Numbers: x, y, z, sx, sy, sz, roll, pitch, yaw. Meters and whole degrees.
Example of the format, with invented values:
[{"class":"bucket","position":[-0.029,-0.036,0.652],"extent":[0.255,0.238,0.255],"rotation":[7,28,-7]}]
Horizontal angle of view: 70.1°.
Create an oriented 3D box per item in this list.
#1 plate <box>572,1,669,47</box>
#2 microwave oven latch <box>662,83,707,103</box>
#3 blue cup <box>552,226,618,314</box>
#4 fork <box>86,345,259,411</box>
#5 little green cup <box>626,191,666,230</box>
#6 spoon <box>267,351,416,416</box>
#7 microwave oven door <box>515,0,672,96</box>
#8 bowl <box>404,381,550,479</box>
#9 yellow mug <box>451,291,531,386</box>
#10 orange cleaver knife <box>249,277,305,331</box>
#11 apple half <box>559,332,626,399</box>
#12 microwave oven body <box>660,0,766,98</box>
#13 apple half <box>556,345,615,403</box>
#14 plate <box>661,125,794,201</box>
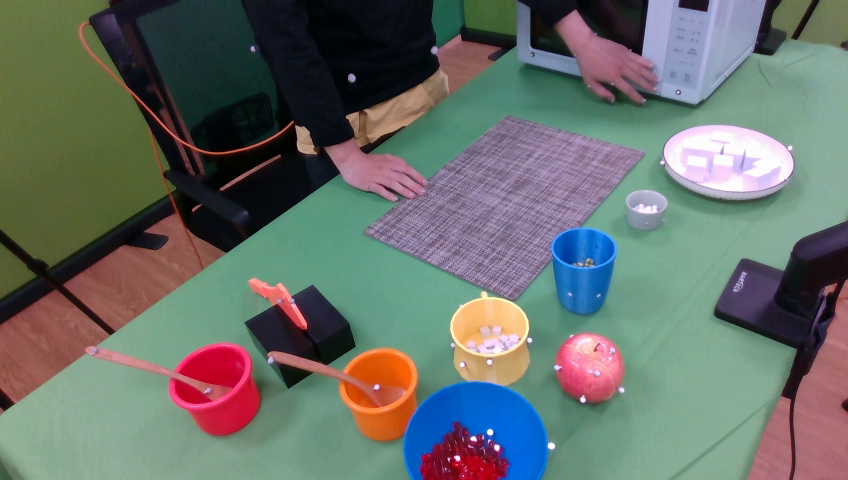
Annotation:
[{"class":"plate","position":[0.441,-0.484,1.366],"extent":[0.209,0.038,0.208],"rotation":[-5,41,5]},{"class":"microwave oven latch","position":[0.517,-0.296,1.204],"extent":[0.078,0.029,0.030],"rotation":[27,52,35]},{"class":"blue cup","position":[0.218,0.047,0.826],"extent":[0.092,0.101,0.092],"rotation":[-6,40,5]},{"class":"fork","position":[-0.298,0.166,0.728],"extent":[0.209,0.018,0.028],"rotation":[28,47,-23]},{"class":"little green cup","position":[0.352,-0.046,0.963],"extent":[0.061,0.039,0.061],"rotation":[-4,40,4]},{"class":"spoon","position":[-0.091,0.162,0.699],"extent":[0.021,0.195,0.041],"rotation":[-45,30,27]},{"class":"microwave oven door","position":[0.344,-0.455,1.259],"extent":[0.353,0.245,0.039],"rotation":[26,51,33]},{"class":"bowl","position":[0.058,0.235,0.645],"extent":[0.151,0.077,0.150],"rotation":[-4,39,4]},{"class":"yellow mug","position":[0.085,0.120,0.786],"extent":[0.100,0.064,0.130],"rotation":[-7,39,1]},{"class":"orange cleaver knife","position":[-0.210,0.088,0.855],"extent":[0.012,0.077,0.210],"rotation":[-28,15,-25]},{"class":"apple half","position":[0.209,0.147,0.730],"extent":[0.080,0.075,0.053],"rotation":[26,48,38]},{"class":"microwave oven body","position":[0.472,-0.513,1.317],"extent":[0.438,0.261,0.327],"rotation":[26,51,34]},{"class":"apple half","position":[0.181,0.167,0.709],"extent":[0.080,0.081,0.033],"rotation":[29,50,35]},{"class":"plate","position":[0.513,-0.128,1.035],"extent":[0.207,0.039,0.206],"rotation":[-4,40,4]}]
